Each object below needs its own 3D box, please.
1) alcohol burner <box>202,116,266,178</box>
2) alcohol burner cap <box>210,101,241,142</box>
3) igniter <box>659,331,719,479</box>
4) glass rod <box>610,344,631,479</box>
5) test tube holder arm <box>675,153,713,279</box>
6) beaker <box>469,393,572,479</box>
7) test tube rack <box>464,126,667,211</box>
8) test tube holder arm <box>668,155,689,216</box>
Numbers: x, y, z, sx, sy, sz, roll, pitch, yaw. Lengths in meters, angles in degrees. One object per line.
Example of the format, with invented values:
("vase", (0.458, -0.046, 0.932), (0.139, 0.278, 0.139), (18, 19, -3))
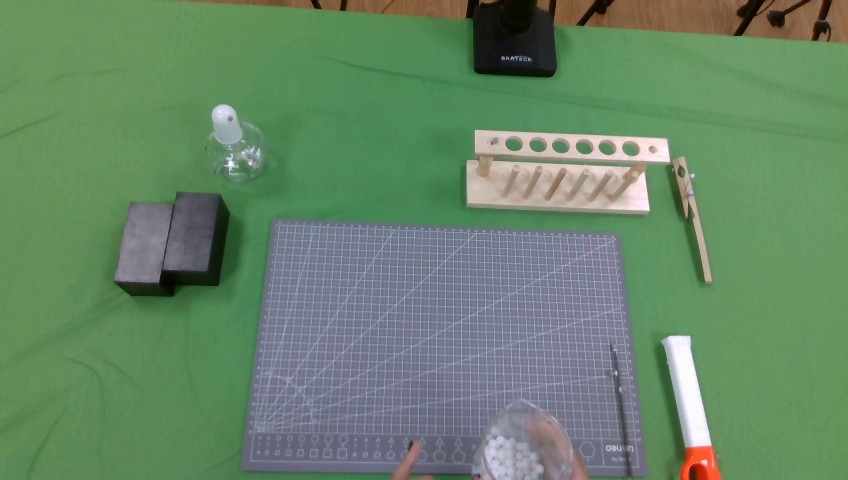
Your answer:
("alcohol burner", (-0.237, -0.127, 0.744), (0.078, 0.120, 0.077), (1, 66, -2))
("alcohol burner cap", (-0.234, -0.143, 0.711), (0.034, 0.048, 0.033), (4, 61, -8))
("igniter", (0.309, 0.240, 0.687), (0.057, 0.025, 0.274), (3, 67, -14))
("glass rod", (0.227, 0.217, 0.696), (0.008, 0.008, 0.198), (2, 68, -4))
("test tube holder arm", (0.358, -0.034, 0.805), (0.013, 0.015, 0.177), (-18, 66, 27))
("beaker", (0.078, 0.188, 0.530), (0.074, 0.101, 0.083), (0, 59, -4))
("test tube rack", (0.177, -0.090, 0.779), (0.243, 0.085, 0.066), (2, 68, -4))
("test tube holder arm", (0.348, -0.075, 0.824), (0.010, 0.015, 0.087), (-17, 67, 27))
